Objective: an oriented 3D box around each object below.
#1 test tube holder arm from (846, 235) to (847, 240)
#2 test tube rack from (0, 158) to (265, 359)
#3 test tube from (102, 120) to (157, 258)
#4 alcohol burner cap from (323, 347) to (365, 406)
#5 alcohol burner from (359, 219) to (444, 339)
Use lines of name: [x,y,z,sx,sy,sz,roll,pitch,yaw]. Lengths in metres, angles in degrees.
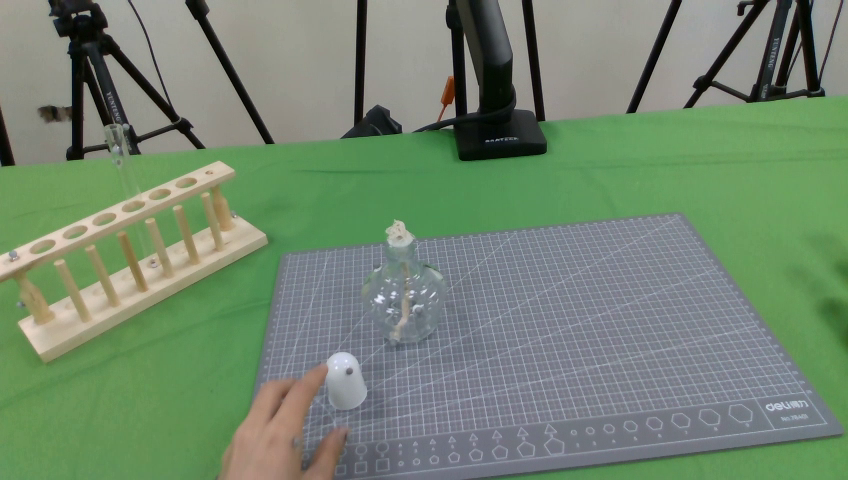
test tube holder arm: [0.387,0.019,0.505,0.010,0.015,0.087,-4,36,-5]
test tube rack: [-0.291,0.009,0.617,0.242,0.086,0.066,-33,46,-32]
test tube: [-0.293,-0.047,0.608,0.017,0.151,0.017,-2,31,1]
alcohol burner cap: [-0.066,0.108,0.492,0.034,0.048,0.033,-2,37,2]
alcohol burner: [-0.021,0.029,0.532,0.078,0.120,0.077,-2,38,2]
